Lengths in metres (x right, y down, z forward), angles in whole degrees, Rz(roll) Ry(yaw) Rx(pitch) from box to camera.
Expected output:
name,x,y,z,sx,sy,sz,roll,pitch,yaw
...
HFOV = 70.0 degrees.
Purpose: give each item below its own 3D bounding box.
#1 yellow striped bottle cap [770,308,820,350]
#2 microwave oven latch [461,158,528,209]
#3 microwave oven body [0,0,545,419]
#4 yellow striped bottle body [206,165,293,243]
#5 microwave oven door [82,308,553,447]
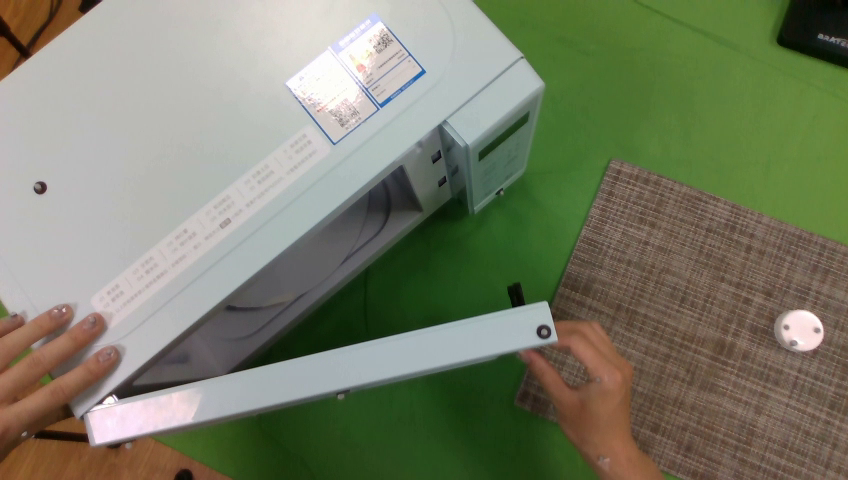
name,x,y,z,sx,sy,sz,roll,pitch,yaw
yellow striped bottle cap,0.395,0.095,0.645,0.044,0.019,0.044,-1,81,6
microwave oven latch,0.078,-0.070,0.674,0.079,0.029,0.030,-37,80,-1
microwave oven body,-0.161,-0.087,0.599,0.441,0.261,0.324,-39,80,-1
yellow striped bottle body,-0.172,-0.035,0.599,0.063,0.120,0.062,0,82,0
microwave oven door,-0.070,0.117,0.552,0.356,0.245,0.039,-14,78,3
